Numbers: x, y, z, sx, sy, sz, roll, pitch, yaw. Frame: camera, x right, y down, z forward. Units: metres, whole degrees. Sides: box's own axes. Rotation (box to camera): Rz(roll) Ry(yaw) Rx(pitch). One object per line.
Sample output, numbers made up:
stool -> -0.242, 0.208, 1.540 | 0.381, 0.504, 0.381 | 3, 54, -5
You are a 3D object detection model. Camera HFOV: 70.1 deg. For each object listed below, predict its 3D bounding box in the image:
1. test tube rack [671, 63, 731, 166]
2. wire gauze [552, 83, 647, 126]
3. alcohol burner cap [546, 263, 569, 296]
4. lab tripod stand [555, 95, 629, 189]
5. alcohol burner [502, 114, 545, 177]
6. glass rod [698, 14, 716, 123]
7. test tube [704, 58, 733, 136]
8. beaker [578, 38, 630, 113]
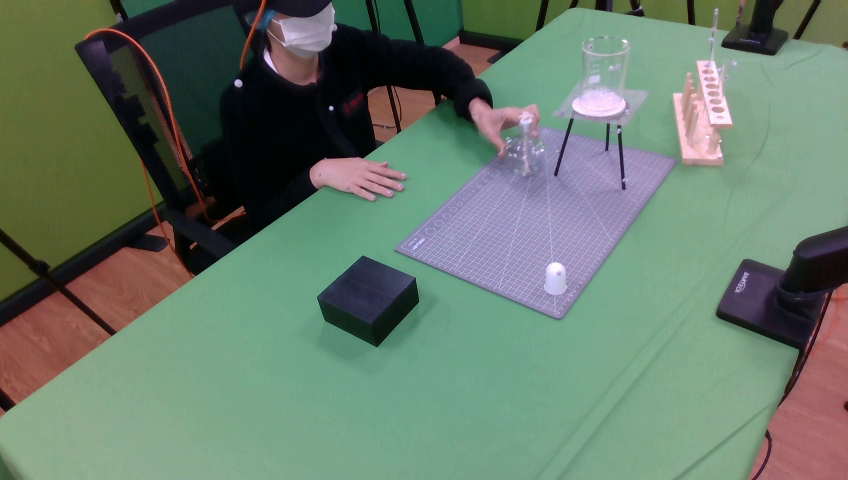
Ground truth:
test tube rack -> 0.513, -0.241, 1.132 | 0.066, 0.085, 0.242 | 4, 41, 14
wire gauze -> 0.293, -0.224, 1.003 | 0.120, 0.011, 0.125 | 19, 43, 26
alcohol burner cap -> 0.191, 0.053, 0.862 | 0.034, 0.048, 0.033 | -5, 40, 4
lab tripod stand -> 0.300, -0.174, 1.045 | 0.148, 0.132, 0.147 | -5, 38, 5
alcohol burner -> 0.178, -0.171, 1.077 | 0.078, 0.119, 0.077 | -3, 41, 3
glass rod -> 0.531, -0.320, 1.136 | 0.008, 0.200, 0.008 | 3, 12, 0
test tube -> 0.516, -0.247, 1.062 | 0.017, 0.151, 0.017 | -3, 43, 4
beaker -> 0.290, -0.265, 0.976 | 0.084, 0.101, 0.073 | -18, 41, -14
